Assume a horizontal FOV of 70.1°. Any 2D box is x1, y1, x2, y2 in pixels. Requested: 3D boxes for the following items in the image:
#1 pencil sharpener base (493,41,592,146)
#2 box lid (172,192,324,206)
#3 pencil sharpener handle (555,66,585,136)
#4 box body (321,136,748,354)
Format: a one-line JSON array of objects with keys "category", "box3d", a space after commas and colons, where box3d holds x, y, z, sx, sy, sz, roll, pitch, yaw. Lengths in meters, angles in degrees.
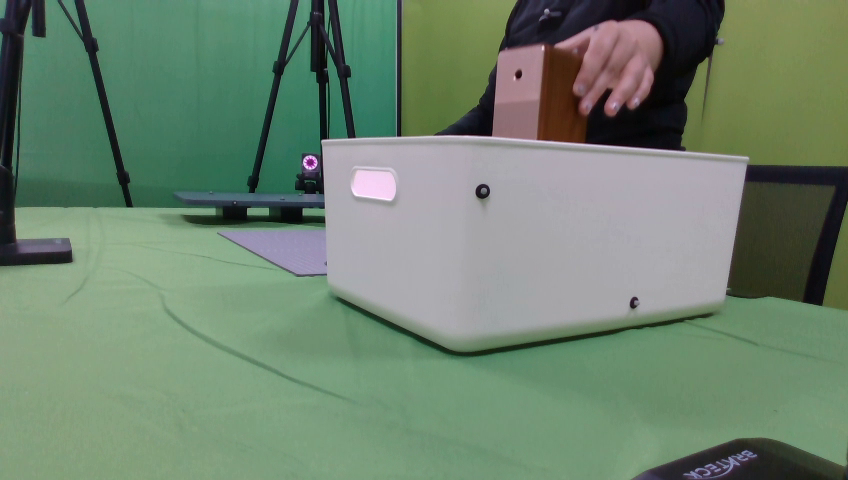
[{"category": "pencil sharpener base", "box3d": [0.114, -0.125, 0.576, 0.077, 0.107, 0.061, -2, 7, -40]}, {"category": "box lid", "box3d": [-0.355, -0.091, 1.350, 0.373, 0.015, 0.262, -1, 8, -29]}, {"category": "pencil sharpener handle", "box3d": [0.153, -0.139, 0.610, 0.031, 0.067, 0.036, -2, 13, -40]}, {"category": "box body", "box3d": [0.105, -0.012, 0.604, 0.366, 0.160, 0.253, -2, 8, -33]}]
